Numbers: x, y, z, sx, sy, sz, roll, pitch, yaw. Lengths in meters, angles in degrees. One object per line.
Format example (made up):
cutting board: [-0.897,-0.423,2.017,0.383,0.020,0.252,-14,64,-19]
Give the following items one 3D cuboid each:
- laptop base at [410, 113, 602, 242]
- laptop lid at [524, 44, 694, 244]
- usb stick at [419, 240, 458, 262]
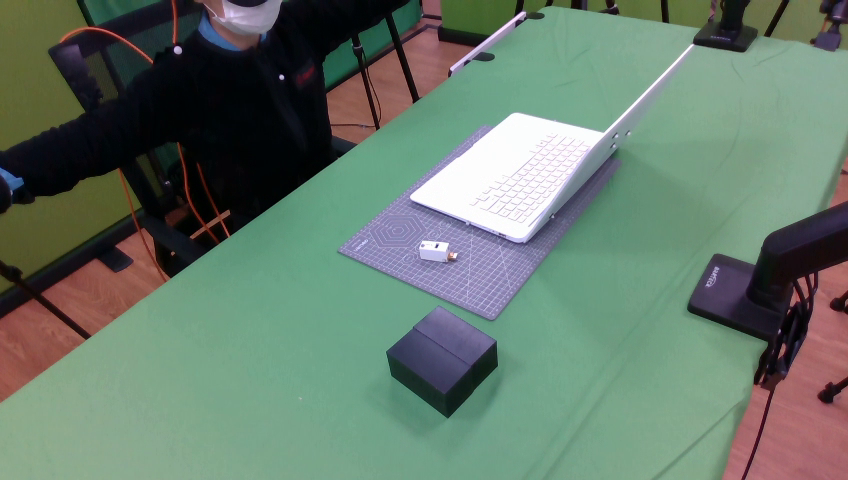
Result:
laptop base: [0.171,-0.127,1.096,0.233,0.023,0.355,21,47,33]
laptop lid: [0.290,-0.151,0.941,0.013,0.241,0.358,40,54,12]
usb stick: [0.023,0.018,0.936,0.059,0.027,0.021,9,42,15]
